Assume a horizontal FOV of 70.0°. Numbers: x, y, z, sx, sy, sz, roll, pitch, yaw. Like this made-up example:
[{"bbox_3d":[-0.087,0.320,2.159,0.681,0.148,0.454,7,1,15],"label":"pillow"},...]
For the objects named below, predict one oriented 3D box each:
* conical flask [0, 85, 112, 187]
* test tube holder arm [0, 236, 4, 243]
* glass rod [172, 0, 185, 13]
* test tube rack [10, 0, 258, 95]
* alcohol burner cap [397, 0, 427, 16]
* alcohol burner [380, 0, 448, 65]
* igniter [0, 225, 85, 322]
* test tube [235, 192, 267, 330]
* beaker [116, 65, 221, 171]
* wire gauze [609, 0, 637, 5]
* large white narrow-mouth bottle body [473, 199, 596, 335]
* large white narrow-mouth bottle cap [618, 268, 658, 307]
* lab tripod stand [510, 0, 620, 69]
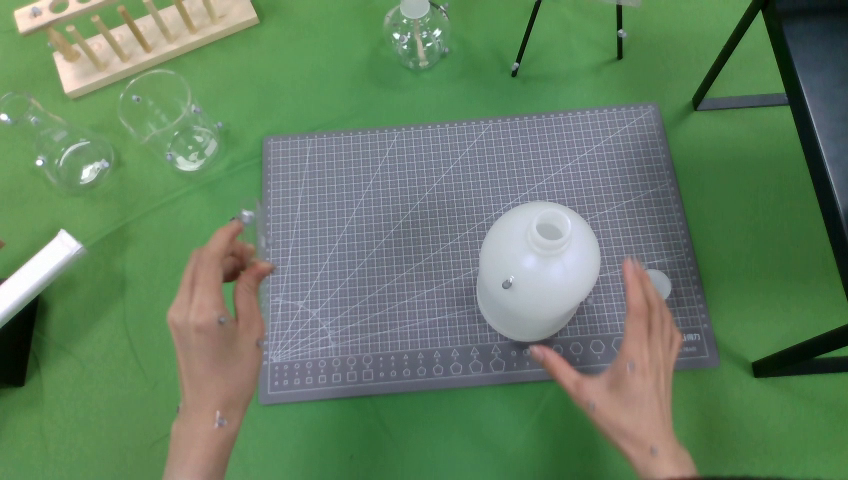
[{"bbox_3d":[-0.393,-0.112,0.635,0.075,0.122,0.075,-1,70,3],"label":"conical flask"},{"bbox_3d":[-0.453,0.026,0.593,0.010,0.015,0.087,39,75,14],"label":"test tube holder arm"},{"bbox_3d":[-0.312,-0.323,0.656,0.008,0.201,0.008,-4,64,8],"label":"glass rod"},{"bbox_3d":[-0.330,-0.264,0.706,0.242,0.086,0.066,-25,71,-7],"label":"test tube rack"},{"bbox_3d":[-0.014,-0.266,0.641,0.034,0.048,0.033,0,69,2],"label":"alcohol burner cap"},{"bbox_3d":[-0.011,-0.252,0.675,0.078,0.120,0.077,0,68,1],"label":"alcohol burner"},{"bbox_3d":[-0.439,0.093,0.565,0.057,0.025,0.276,38,73,12],"label":"igniter"},{"bbox_3d":[-0.131,0.022,0.464,0.017,0.151,0.017,6,47,-6],"label":"test tube"},{"bbox_3d":[-0.268,-0.123,0.647,0.074,0.101,0.083,10,71,7],"label":"beaker"},{"bbox_3d":[0.162,-0.290,0.599,0.121,0.011,0.124,16,73,6],"label":"wire gauze"},{"bbox_3d":[0.096,0.020,0.530,0.102,0.196,0.101,-1,72,3],"label":"large white narrow-mouth bottle body"},{"bbox_3d":[0.215,0.048,0.606,0.038,0.024,0.037,-1,72,2],"label":"large white narrow-mouth bottle cap"},{"bbox_3d":[0.158,-0.265,0.662,0.148,0.132,0.147,0,69,1],"label":"lab tripod stand"}]
